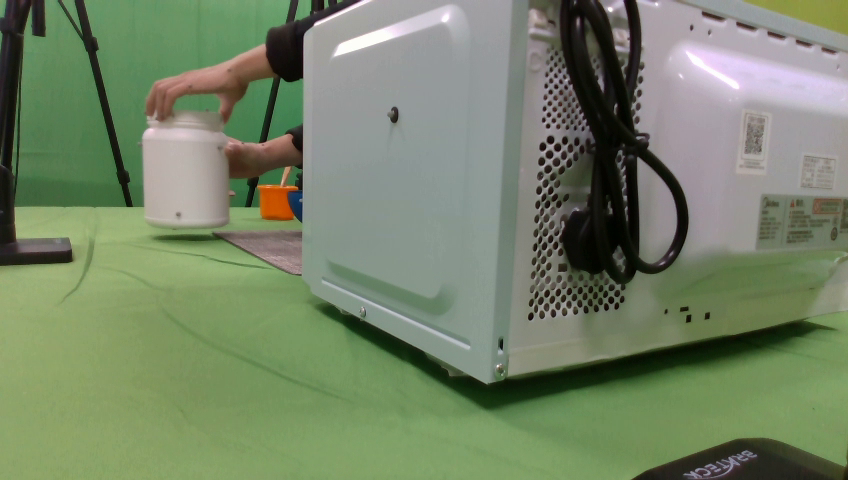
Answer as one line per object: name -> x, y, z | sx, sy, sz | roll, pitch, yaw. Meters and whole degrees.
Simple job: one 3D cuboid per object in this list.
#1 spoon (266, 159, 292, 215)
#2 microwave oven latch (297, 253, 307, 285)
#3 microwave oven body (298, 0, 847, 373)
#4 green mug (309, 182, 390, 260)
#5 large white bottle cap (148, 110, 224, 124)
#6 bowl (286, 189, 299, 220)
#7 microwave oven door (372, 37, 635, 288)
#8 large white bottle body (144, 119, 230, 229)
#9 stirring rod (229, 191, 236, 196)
spoon -> -0.334, -0.127, 1.424 | 0.041, 0.193, 0.021 | 1, -38, 6
microwave oven latch -> -0.082, 0.027, 0.582 | 0.079, 0.029, 0.030 | -2, 7, -33
microwave oven body -> 0.151, -0.055, 0.542 | 0.444, 0.260, 0.324 | -2, 7, -33
green mug -> -0.102, -0.029, 0.864 | 0.126, 0.105, 0.092 | -3, 8, -40
large white bottle cap -> -0.386, -0.199, 0.984 | 0.115, 0.018, 0.115 | 2, 8, 0
bowl -> -0.179, -0.051, 1.115 | 0.151, 0.077, 0.151 | 3, 8, 0
microwave oven door -> 0.109, -0.080, 0.686 | 0.358, 0.243, 0.039 | -2, 8, -33
large white bottle body -> -0.389, -0.115, 0.996 | 0.131, 0.184, 0.130 | 2, 8, 0
stirring rod -> -0.466, -0.098, 1.283 | 0.014, 0.006, 0.177 | 42, 21, 17
